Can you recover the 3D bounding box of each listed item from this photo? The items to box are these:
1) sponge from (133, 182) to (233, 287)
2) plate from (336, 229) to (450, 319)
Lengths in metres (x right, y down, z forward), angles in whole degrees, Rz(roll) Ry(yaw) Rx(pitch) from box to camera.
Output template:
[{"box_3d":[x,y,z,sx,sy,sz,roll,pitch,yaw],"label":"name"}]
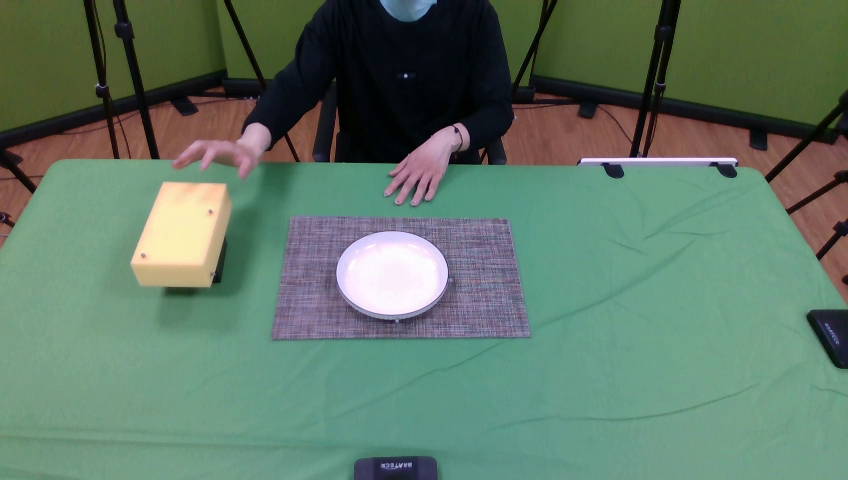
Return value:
[{"box_3d":[-0.424,-0.013,1.084,0.118,0.061,0.205,0,46,-3],"label":"sponge"},{"box_3d":[-0.056,0.065,1.113,0.208,0.039,0.206,2,46,-2],"label":"plate"}]
